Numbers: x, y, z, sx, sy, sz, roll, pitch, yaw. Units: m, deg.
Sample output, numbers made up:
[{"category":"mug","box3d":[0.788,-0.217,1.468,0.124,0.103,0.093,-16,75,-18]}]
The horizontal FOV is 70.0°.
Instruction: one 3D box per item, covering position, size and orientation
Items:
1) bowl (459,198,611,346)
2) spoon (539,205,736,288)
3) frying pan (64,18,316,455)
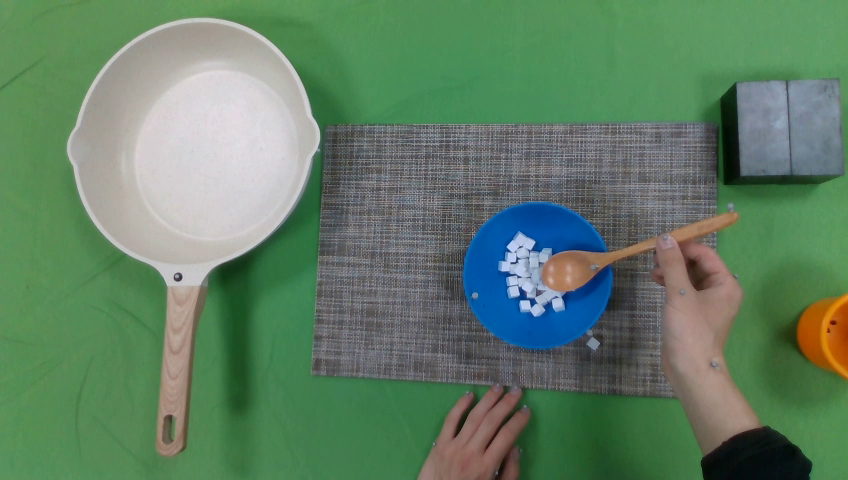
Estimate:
[{"category":"bowl","box3d":[0.117,0.035,0.648,0.151,0.077,0.151,-1,85,8]},{"category":"spoon","box3d":[0.196,0.006,0.579,0.193,0.022,0.041,-23,83,39]},{"category":"frying pan","box3d":[-0.269,-0.009,0.696,0.306,0.103,0.485,0,77,9]}]
